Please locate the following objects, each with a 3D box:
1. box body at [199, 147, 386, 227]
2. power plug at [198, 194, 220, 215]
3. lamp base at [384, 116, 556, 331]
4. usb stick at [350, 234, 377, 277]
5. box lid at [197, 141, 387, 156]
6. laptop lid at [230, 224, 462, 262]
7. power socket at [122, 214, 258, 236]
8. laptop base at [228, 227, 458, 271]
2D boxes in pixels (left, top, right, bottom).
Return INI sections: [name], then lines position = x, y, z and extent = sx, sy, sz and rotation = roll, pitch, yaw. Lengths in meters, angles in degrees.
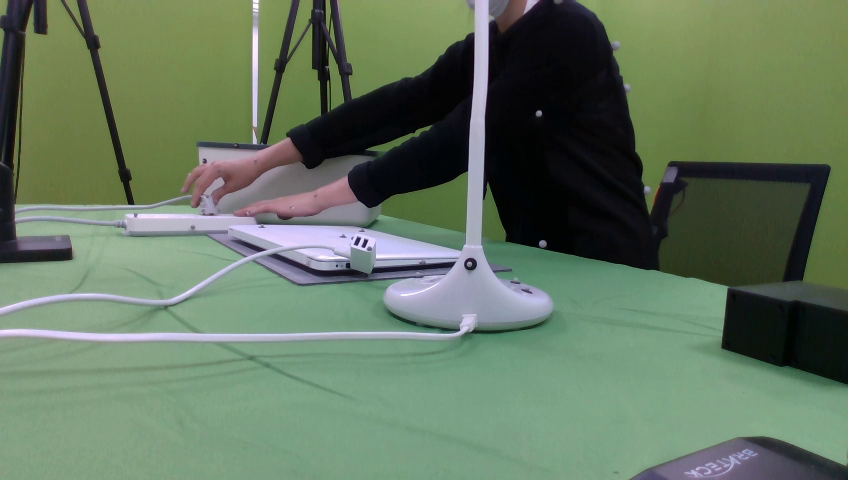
[box body]
position = -0.276, -0.124, 1.334
extent = 0.364, 0.160, 0.254
rotation = 3, 7, 1
[power plug]
position = -0.387, -0.055, 1.089
extent = 0.035, 0.052, 0.072
rotation = -1, 7, -22
[lamp base]
position = 0.046, -0.019, 0.545
extent = 0.161, 0.180, 0.179
rotation = 1, 10, -4
[usb stick]
position = -0.069, 0.020, 0.689
extent = 0.027, 0.059, 0.021
rotation = 13, 54, 8
[box lid]
position = -0.275, -0.198, 1.326
extent = 0.372, 0.015, 0.263
rotation = 3, 8, 1
[laptop lid]
position = -0.119, 0.000, 0.888
extent = 0.243, 0.013, 0.355
rotation = 1, 7, -33
[power socket]
position = -0.399, -0.028, 1.049
extent = 0.228, 0.032, 0.072
rotation = -3, 8, -33
[laptop base]
position = -0.122, 0.011, 0.889
extent = 0.237, 0.023, 0.352
rotation = 2, 6, -35
